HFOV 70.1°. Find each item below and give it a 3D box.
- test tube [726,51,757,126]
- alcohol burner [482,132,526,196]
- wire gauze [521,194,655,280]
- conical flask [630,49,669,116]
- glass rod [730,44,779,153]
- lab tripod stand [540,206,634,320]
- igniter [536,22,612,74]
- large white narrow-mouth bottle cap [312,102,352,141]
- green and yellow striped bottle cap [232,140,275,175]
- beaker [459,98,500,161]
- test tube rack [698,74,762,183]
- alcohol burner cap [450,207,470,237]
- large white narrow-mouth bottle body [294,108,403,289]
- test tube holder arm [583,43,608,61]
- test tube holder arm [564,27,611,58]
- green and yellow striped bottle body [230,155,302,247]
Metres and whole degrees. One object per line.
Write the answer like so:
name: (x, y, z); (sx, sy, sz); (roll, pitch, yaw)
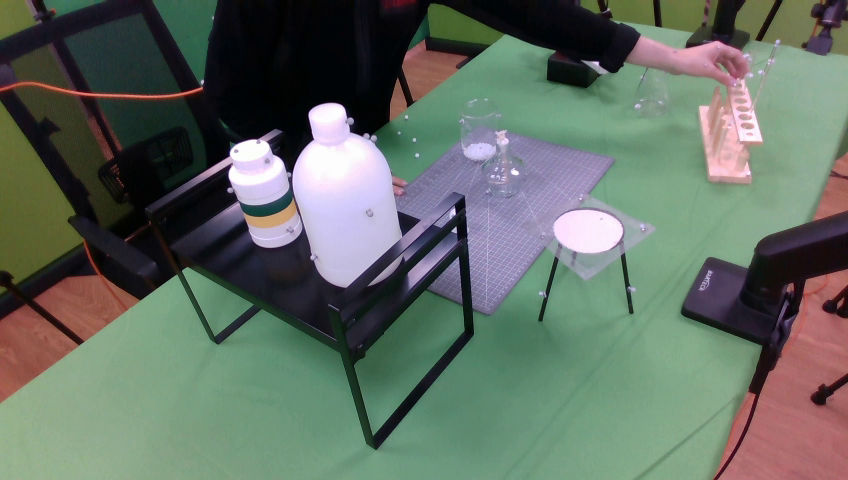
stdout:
test tube: (0.568, -0.268, 1.085); (0.017, 0.151, 0.017); (-4, 46, 4)
alcohol burner: (0.138, -0.136, 1.042); (0.078, 0.119, 0.077); (-4, 43, 4)
wire gauze: (0.207, -0.012, 0.772); (0.122, 0.011, 0.124); (-28, 44, -20)
conical flask: (0.457, -0.316, 1.205); (0.075, 0.122, 0.075); (-4, 41, 4)
glass rod: (0.555, -0.233, 1.020); (0.008, 0.200, 0.008); (2, 39, -1)
lab tripod stand: (0.218, 0.034, 0.821); (0.148, 0.132, 0.147); (-4, 42, 4)
igniter: (0.330, -0.439, 1.366); (0.057, 0.025, 0.274); (-11, 41, -20)
large white narrow-mouth bottle cap: (-0.088, -0.114, 0.579); (0.038, 0.024, 0.037); (-3, 39, 3)
green and yellow striped bottle cap: (-0.192, -0.093, 0.680); (0.045, 0.020, 0.045); (-5, 39, 5)
beaker: (0.104, -0.208, 1.142); (0.074, 0.101, 0.083); (-20, 42, -15)
test tube rack: (0.547, -0.208, 1.094); (0.066, 0.085, 0.242); (6, 42, 15)
alcohol burner cap: (0.057, -0.032, 0.987); (0.034, 0.048, 0.033); (-4, 41, 4)
large white narrow-mouth bottle body: (-0.082, -0.047, 0.634); (0.102, 0.195, 0.101); (-4, 39, 3)
test tube holder arm: (0.379, -0.420, 1.341); (0.010, 0.015, 0.087); (-40, 41, 11)
test tube holder arm: (0.368, -0.450, 1.373); (0.013, 0.015, 0.177); (-40, 41, 10)
green and yellow striped bottle body: (-0.188, -0.055, 0.714); (0.063, 0.120, 0.063); (-4, 41, 4)
